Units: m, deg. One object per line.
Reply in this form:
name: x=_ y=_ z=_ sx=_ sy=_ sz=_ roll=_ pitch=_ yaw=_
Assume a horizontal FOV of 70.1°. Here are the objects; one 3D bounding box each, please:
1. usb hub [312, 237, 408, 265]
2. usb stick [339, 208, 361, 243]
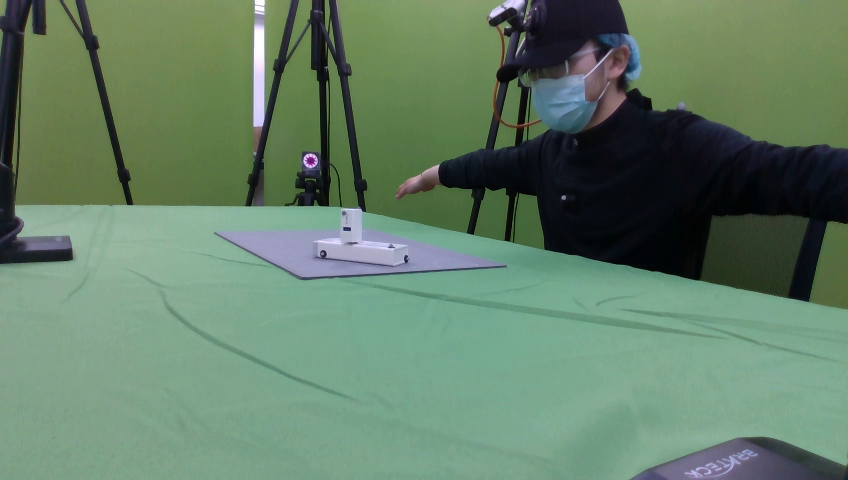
usb hub: x=-0.088 y=0.014 z=0.829 sx=0.125 sy=0.025 sz=0.050 roll=5 pitch=8 yaw=22
usb stick: x=-0.100 y=-0.013 z=0.815 sx=0.021 sy=0.059 sz=0.027 roll=5 pitch=10 yaw=20
